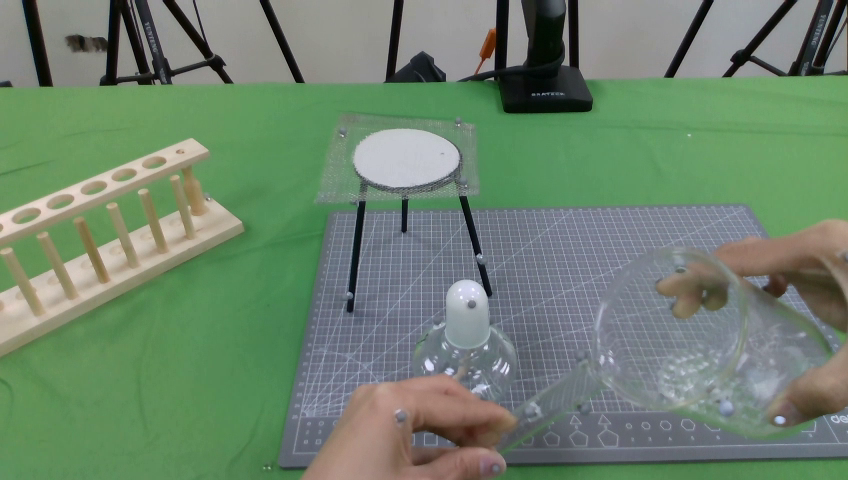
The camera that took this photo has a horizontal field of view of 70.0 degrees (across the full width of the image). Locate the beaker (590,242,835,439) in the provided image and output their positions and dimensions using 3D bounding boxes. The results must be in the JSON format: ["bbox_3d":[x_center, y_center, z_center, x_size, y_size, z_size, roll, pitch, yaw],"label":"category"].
[{"bbox_3d":[0.141,0.056,0.294,0.101,0.084,0.073,23,40,-32],"label":"beaker"}]

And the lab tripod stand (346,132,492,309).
[{"bbox_3d":[-0.008,-0.016,0.529,0.148,0.132,0.147,1,39,0],"label":"lab tripod stand"}]

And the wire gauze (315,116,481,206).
[{"bbox_3d":[-0.017,-0.066,0.484,0.121,0.011,0.124,2,40,1],"label":"wire gauze"}]

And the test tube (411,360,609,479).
[{"bbox_3d":[0.036,0.109,0.326,0.017,0.150,0.017,35,29,-22],"label":"test tube"}]

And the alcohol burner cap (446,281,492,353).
[{"bbox_3d":[0.030,0.049,0.410,0.034,0.048,0.033,-3,39,3],"label":"alcohol burner cap"}]

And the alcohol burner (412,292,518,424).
[{"bbox_3d":[0.030,0.077,0.432,0.078,0.120,0.077,0,42,1],"label":"alcohol burner"}]

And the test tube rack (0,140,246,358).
[{"bbox_3d":[-0.295,0.000,0.557,0.242,0.086,0.066,-32,49,-32],"label":"test tube rack"}]
